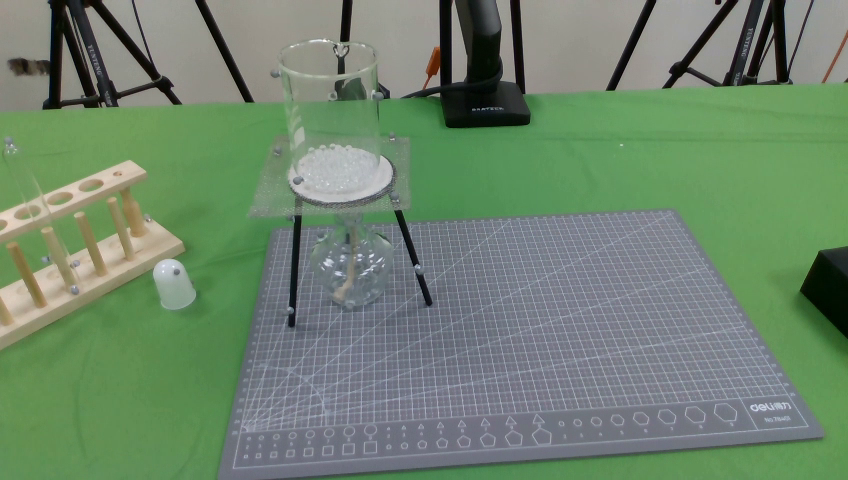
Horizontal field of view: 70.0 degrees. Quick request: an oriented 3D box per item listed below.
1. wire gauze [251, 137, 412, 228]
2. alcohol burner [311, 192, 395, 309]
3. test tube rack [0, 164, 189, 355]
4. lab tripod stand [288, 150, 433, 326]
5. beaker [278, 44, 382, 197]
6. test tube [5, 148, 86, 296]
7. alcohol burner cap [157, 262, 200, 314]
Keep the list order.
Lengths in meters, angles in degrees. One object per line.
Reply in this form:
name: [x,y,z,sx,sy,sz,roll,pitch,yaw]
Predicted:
wire gauze: [-0.071,-0.052,0.498,0.121,0.011,0.124,-1,40,-1]
alcohol burner: [-0.065,0.005,0.548,0.078,0.120,0.077,1,40,-1]
test tube rack: [-0.350,0.024,0.552,0.066,0.086,0.242,29,46,32]
lab tripod stand: [-0.062,-0.002,0.541,0.148,0.132,0.147,1,37,0]
beaker: [-0.068,-0.092,0.469,0.074,0.101,0.083,5,38,3]
test tube: [-0.326,-0.011,0.525,0.017,0.151,0.017,0,37,0]
alcohol burner cap: [-0.231,0.042,0.566,0.034,0.048,0.033,0,39,0]
